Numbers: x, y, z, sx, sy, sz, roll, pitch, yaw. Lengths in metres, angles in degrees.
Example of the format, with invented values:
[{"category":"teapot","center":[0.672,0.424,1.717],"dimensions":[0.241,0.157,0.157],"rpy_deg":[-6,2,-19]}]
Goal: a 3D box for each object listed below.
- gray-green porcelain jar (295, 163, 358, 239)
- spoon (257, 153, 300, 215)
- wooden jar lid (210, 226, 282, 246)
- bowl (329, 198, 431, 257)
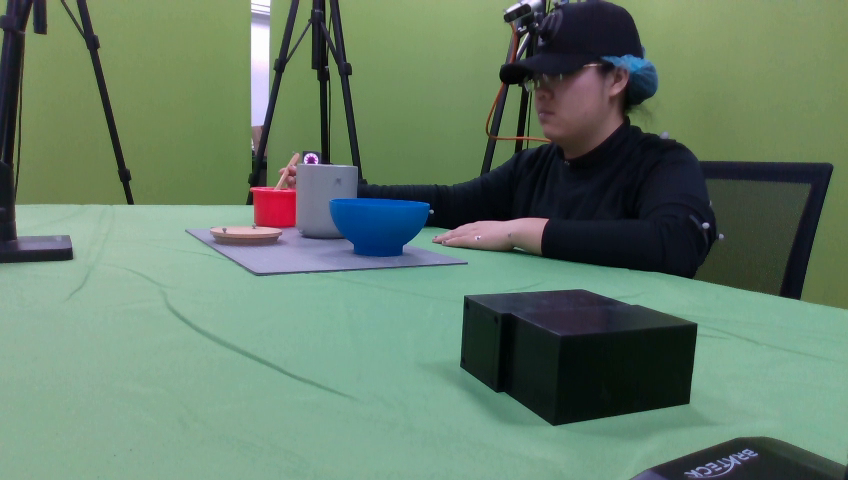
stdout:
[{"category":"gray-green porcelain jar","center":[-0.170,-0.069,1.054],"dimensions":[0.106,0.126,0.106],"rpy_deg":[3,7,0]},{"category":"spoon","center":[-0.289,-0.118,1.234],"dimensions":[0.041,0.021,0.193],"rpy_deg":[14,52,5]},{"category":"wooden jar lid","center":[-0.279,-0.007,0.951],"dimensions":[0.108,0.020,0.108],"rpy_deg":[2,8,0]},{"category":"bowl","center":[-0.067,-0.019,0.894],"dimensions":[0.151,0.077,0.151],"rpy_deg":[3,7,0]}]
